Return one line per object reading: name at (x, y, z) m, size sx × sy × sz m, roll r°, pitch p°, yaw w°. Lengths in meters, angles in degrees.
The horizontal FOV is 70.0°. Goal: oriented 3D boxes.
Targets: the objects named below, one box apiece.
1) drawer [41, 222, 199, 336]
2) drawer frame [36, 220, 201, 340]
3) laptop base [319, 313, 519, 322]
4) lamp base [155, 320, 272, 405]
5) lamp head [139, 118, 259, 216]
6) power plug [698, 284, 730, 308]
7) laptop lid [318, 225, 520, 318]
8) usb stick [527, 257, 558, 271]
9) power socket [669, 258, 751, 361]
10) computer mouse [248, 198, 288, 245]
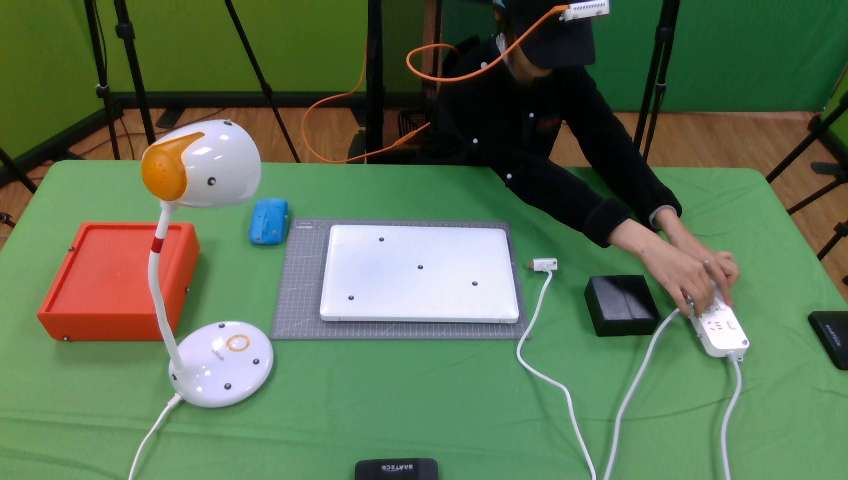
drawer at (-0.519, 0.064, 1.057) m, size 0.195 × 0.073 × 0.210 m, roll 1°, pitch 46°, yaw -4°
drawer frame at (-0.518, 0.065, 1.055) m, size 0.202 × 0.083 × 0.212 m, roll 0°, pitch 47°, yaw -5°
laptop base at (-0.009, 0.062, 1.137) m, size 0.354 × 0.023 × 0.234 m, roll 1°, pitch 42°, yaw -3°
lamp base at (-0.330, 0.149, 0.918) m, size 0.160 × 0.181 × 0.179 m, roll 26°, pitch 52°, yaw 20°
lamp head at (-0.281, -0.086, 0.734) m, size 0.112 × 0.113 × 0.123 m, roll 21°, pitch 25°, yaw 16°
power plug at (0.510, 0.096, 1.059) m, size 0.052 × 0.073 × 0.035 m, roll -23°, pitch 61°, yaw 10°
laptop lid at (-0.009, 0.052, 1.130) m, size 0.357 × 0.013 × 0.240 m, roll 2°, pitch 43°, yaw -2°
usb stick at (0.226, 0.046, 1.159) m, size 0.059 × 0.021 × 0.027 m, roll -3°, pitch 8°, yaw 9°
power socket at (0.518, 0.118, 1.109) m, size 0.072 × 0.033 × 0.225 m, roll -2°, pitch 46°, yaw -5°
computer mouse at (-0.309, -0.041, 1.205) m, size 0.063 × 0.041 × 0.116 m, roll 3°, pitch 50°, yaw -3°
